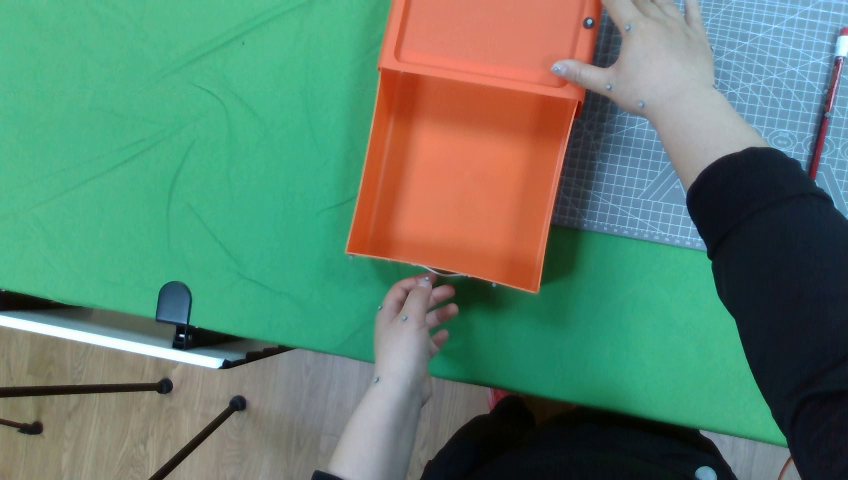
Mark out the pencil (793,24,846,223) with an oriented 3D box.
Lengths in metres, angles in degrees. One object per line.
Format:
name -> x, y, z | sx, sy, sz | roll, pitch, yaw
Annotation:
pencil -> 0.380, -0.112, 0.584 | 0.012, 0.012, 0.194 | 13, 92, 10

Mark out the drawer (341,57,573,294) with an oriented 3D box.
drawer -> 0.036, -0.066, 0.608 | 0.194, 0.073, 0.211 | 11, 92, 10

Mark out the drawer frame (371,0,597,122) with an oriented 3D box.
drawer frame -> 0.069, -0.243, 0.602 | 0.201, 0.083, 0.213 | 11, 89, 10
